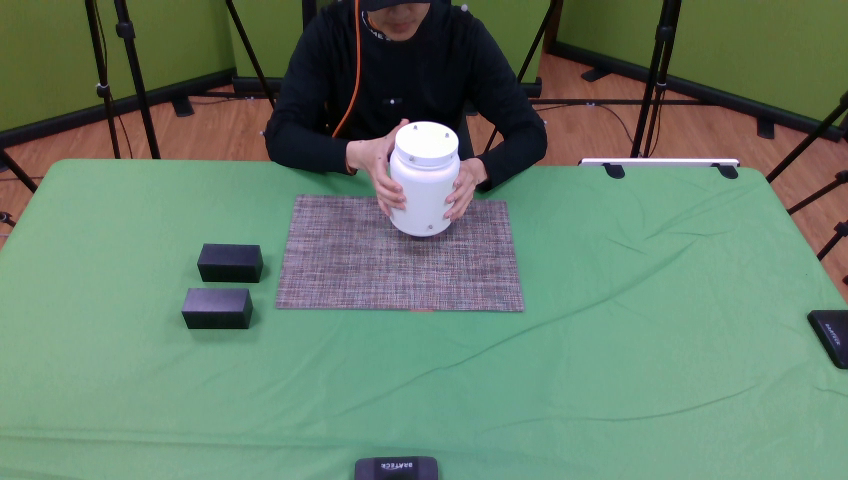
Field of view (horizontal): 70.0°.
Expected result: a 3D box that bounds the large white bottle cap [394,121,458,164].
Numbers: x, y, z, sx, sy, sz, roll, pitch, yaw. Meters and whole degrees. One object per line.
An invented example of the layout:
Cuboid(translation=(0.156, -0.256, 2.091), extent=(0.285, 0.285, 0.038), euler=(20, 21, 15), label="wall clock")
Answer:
Cuboid(translation=(0.003, -0.177, 1.089), extent=(0.115, 0.018, 0.114), euler=(2, 44, -2), label="large white bottle cap")

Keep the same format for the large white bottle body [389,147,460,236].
Cuboid(translation=(-0.001, -0.114, 1.150), extent=(0.131, 0.185, 0.130), euler=(2, 44, -2), label="large white bottle body")
